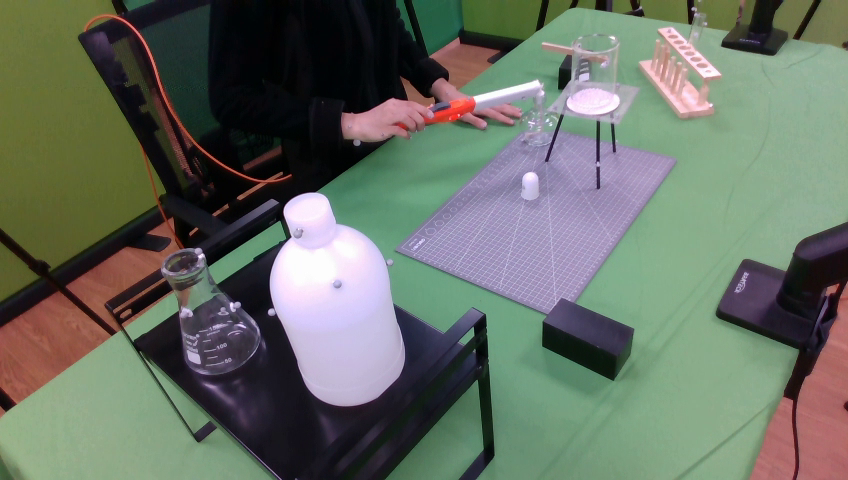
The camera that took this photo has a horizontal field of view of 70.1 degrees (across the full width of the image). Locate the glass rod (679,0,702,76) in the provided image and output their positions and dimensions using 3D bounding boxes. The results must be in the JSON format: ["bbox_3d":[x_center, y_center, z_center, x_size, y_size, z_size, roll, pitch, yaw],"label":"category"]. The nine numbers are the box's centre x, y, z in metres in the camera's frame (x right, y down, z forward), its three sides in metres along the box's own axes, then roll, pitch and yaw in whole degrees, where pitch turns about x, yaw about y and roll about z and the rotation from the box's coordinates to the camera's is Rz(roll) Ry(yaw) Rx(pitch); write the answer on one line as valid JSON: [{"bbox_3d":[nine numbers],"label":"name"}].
[{"bbox_3d":[0.543,-0.417,1.233,0.008,0.200,0.008,1,40,0],"label":"glass rod"}]

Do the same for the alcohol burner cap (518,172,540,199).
[{"bbox_3d":[0.184,-0.098,1.049,0.034,0.048,0.033,4,52,-5],"label":"alcohol burner cap"}]

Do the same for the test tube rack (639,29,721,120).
[{"bbox_3d":[0.527,-0.351,1.262,0.067,0.085,0.241,-8,40,1],"label":"test tube rack"}]

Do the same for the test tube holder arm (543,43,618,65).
[{"bbox_3d":[0.344,-0.413,1.341,0.177,0.015,0.013,25,50,31],"label":"test tube holder arm"}]

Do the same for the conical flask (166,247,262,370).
[{"bbox_3d":[-0.209,0.063,0.584,0.075,0.122,0.075,-5,40,4],"label":"conical flask"}]

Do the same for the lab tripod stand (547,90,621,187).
[{"bbox_3d":[0.289,-0.184,1.062,0.148,0.132,0.147,-6,41,6],"label":"lab tripod stand"}]

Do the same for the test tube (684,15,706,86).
[{"bbox_3d":[0.540,-0.378,1.215,0.017,0.151,0.017,-2,44,3],"label":"test tube"}]

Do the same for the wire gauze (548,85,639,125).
[{"bbox_3d":[0.286,-0.233,1.020,0.124,0.011,0.122,15,43,30],"label":"wire gauze"}]

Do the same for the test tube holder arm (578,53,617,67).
[{"bbox_3d":[0.376,-0.393,1.314,0.087,0.015,0.010,26,51,32],"label":"test tube holder arm"}]

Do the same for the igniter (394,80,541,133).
[{"bbox_3d":[0.078,-0.235,1.064,0.277,0.057,0.025,-18,71,-14],"label":"igniter"}]

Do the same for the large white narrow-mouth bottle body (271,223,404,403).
[{"bbox_3d":[-0.077,0.048,0.525,0.102,0.195,0.101,-5,40,5],"label":"large white narrow-mouth bottle body"}]

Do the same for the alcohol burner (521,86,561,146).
[{"bbox_3d":[0.223,-0.241,1.155,0.078,0.119,0.077,-5,43,5],"label":"alcohol burner"}]

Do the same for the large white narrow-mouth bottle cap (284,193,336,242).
[{"bbox_3d":[-0.087,-0.018,0.467,0.038,0.024,0.037,-5,40,4],"label":"large white narrow-mouth bottle cap"}]

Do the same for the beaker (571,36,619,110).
[{"bbox_3d":[0.281,-0.273,0.992,0.084,0.101,0.073,-24,42,-16],"label":"beaker"}]
